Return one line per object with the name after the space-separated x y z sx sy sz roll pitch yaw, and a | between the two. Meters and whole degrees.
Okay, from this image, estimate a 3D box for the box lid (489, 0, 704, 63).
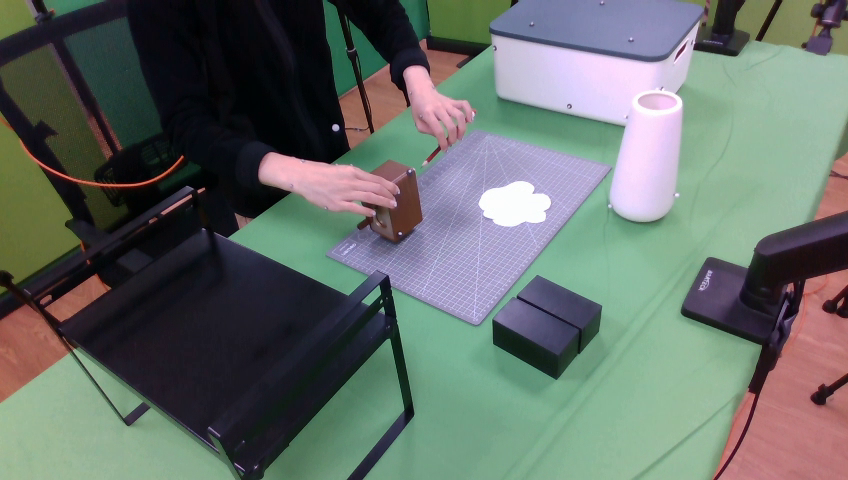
0.345 -0.441 1.217 0.369 0.015 0.264 21 49 29 | box lid

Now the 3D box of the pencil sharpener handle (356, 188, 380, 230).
-0.090 -0.045 0.931 0.036 0.068 0.031 34 55 23 | pencil sharpener handle

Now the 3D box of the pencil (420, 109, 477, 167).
0.044 -0.177 1.041 0.012 0.012 0.194 18 47 26 | pencil

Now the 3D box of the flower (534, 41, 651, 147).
0.364 -0.319 1.318 0.038 0.044 0.359 -4 48 -50 | flower

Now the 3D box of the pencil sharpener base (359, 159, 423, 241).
-0.052 -0.062 0.964 0.061 0.107 0.077 25 50 34 | pencil sharpener base

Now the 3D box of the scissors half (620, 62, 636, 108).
0.434 -0.340 1.298 0.013 0.040 0.174 25 42 -12 | scissors half

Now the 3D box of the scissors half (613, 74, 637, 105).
0.427 -0.330 1.306 0.013 0.040 0.174 31 31 -14 | scissors half

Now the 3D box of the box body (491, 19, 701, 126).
0.352 -0.384 1.268 0.361 0.161 0.255 21 48 29 | box body

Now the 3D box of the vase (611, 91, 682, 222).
0.348 -0.125 0.935 0.098 0.201 0.097 -3 40 3 | vase
